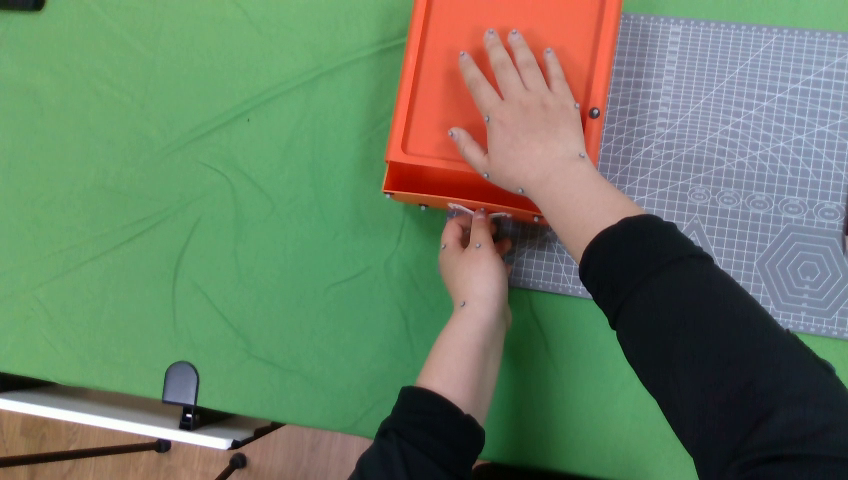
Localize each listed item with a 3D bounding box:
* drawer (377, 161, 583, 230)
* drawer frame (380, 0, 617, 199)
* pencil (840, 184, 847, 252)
[{"bbox_3d":[0.071,-0.126,0.604,0.194,0.073,0.211,9,86,10],"label":"drawer"},{"bbox_3d":[0.075,-0.157,0.605,0.201,0.083,0.213,8,86,10],"label":"drawer frame"},{"bbox_3d":[0.418,-0.084,0.584,0.012,0.012,0.194,9,89,10],"label":"pencil"}]
